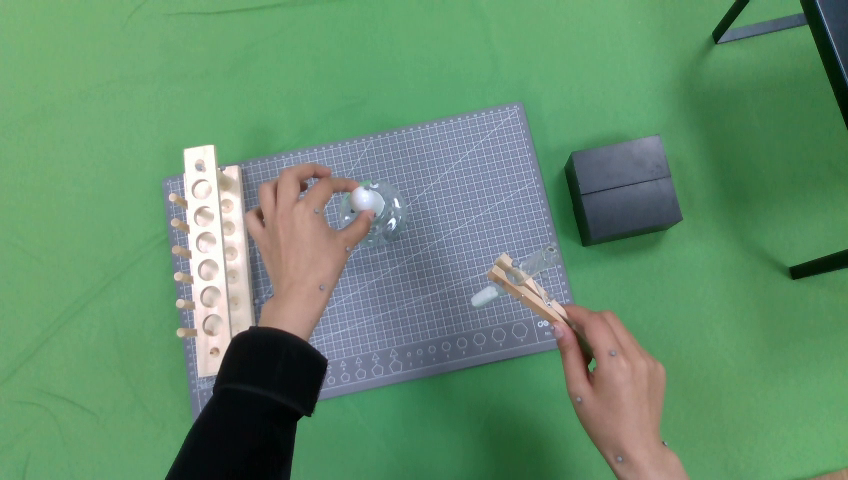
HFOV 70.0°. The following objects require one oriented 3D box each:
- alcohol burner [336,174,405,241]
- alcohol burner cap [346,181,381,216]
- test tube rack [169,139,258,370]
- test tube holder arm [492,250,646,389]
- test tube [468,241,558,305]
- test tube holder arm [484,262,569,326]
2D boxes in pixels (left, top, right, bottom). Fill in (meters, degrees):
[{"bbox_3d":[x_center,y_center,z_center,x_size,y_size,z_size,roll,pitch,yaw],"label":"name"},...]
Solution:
[{"bbox_3d":[-0.061,-0.039,0.664,0.078,0.119,0.077,0,81,3],"label":"alcohol burner"},{"bbox_3d":[-0.065,-0.046,0.629,0.034,0.048,0.033,-1,80,8],"label":"alcohol burner cap"},{"bbox_3d":[-0.242,0.020,0.676,0.067,0.085,0.241,-9,80,1],"label":"test tube rack"},{"bbox_3d":[0.130,0.072,0.538,0.178,0.015,0.013,41,69,-4],"label":"test tube holder arm"},{"bbox_3d":[0.073,0.033,0.538,0.017,0.150,0.017,7,68,-19],"label":"test tube"},{"bbox_3d":[0.092,0.048,0.533,0.088,0.015,0.010,34,69,-6],"label":"test tube holder arm"}]
